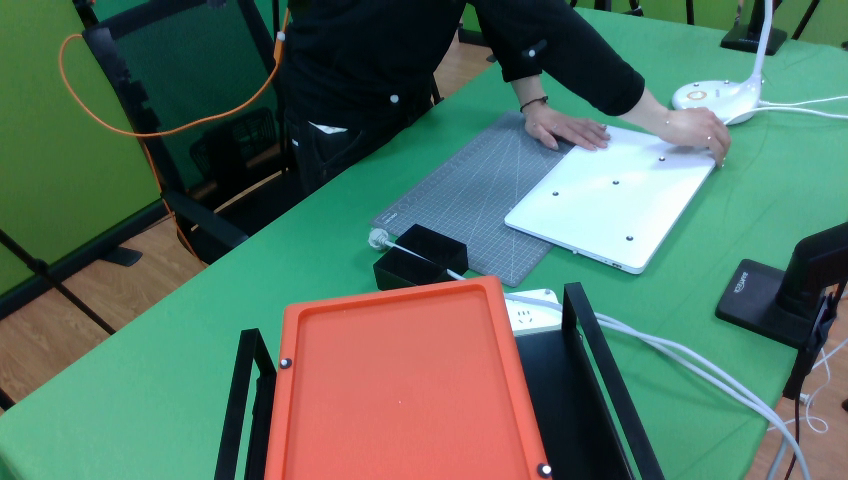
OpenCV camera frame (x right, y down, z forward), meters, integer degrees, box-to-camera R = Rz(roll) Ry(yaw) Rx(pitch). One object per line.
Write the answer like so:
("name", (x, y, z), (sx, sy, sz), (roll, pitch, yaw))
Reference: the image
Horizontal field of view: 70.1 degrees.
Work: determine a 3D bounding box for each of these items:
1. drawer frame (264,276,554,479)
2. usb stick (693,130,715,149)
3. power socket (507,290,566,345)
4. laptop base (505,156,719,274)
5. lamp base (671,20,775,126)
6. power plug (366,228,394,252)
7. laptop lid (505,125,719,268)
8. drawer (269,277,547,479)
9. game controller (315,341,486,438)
("drawer frame", (-0.016, 0.137, 0.490), (0.202, 0.083, 0.212), (-8, 41, -2))
("usb stick", (0.503, -0.175, 1.095), (0.021, 0.027, 0.059), (30, 52, 31))
("power socket", (0.082, 0.112, 0.822), (0.227, 0.033, 0.072), (-7, 40, 0))
("laptop base", (0.326, -0.083, 1.028), (0.233, 0.023, 0.355), (21, 48, 32))
("lamp base", (0.582, -0.332, 1.153), (0.179, 0.181, 0.160), (2, 42, 7))
("power plug", (-0.067, 0.010, 0.955), (0.035, 0.053, 0.072), (-34, 51, 1))
("laptop lid", (0.323, -0.093, 1.021), (0.239, 0.013, 0.358), (23, 49, 33))
("drawer", (-0.018, 0.137, 0.493), (0.195, 0.073, 0.210), (-7, 41, -1))
("game controller", (-0.021, 0.120, 0.534), (0.155, 0.052, 0.096), (-3, 38, 0))
